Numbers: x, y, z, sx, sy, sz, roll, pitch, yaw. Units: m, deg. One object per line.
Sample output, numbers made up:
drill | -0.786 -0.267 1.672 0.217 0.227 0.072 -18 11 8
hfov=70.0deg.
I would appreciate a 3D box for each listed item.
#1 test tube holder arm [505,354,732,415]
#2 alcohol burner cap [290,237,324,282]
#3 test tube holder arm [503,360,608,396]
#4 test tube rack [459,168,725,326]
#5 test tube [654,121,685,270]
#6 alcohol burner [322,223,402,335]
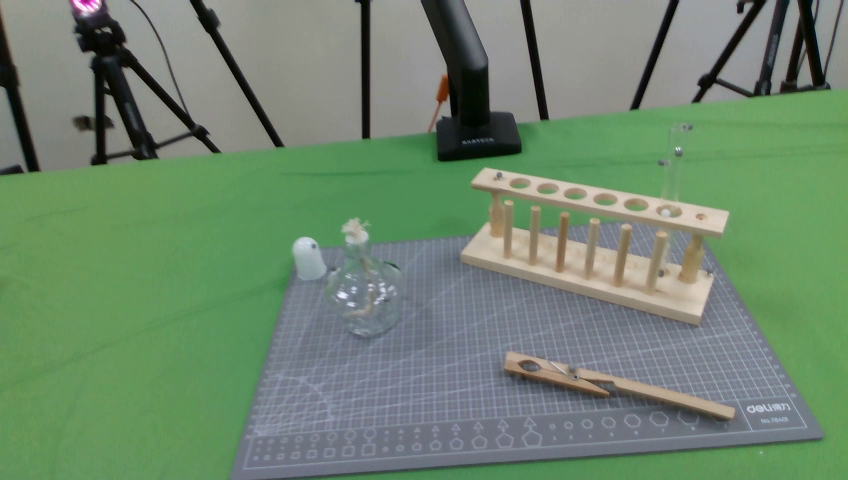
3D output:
test tube holder arm | 0.154 0.117 0.494 0.177 0.015 0.013 8 72 19
alcohol burner cap | -0.129 0.019 0.661 0.034 0.048 0.033 -3 37 3
test tube holder arm | 0.110 0.116 0.508 0.087 0.015 0.010 9 73 19
test tube rack | 0.154 0.000 0.599 0.240 0.086 0.066 14 42 27
test tube | 0.220 -0.035 0.550 0.017 0.151 0.017 -5 33 4
alcohol burner | -0.060 0.032 0.569 0.078 0.120 0.077 -4 38 3
